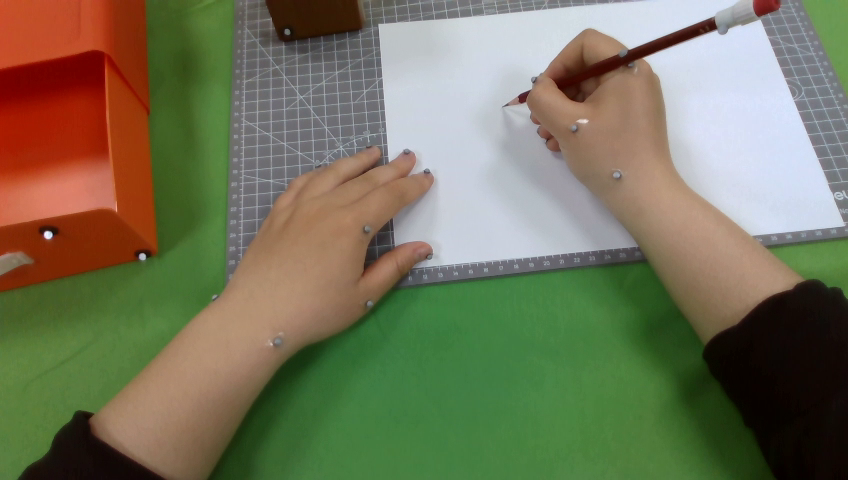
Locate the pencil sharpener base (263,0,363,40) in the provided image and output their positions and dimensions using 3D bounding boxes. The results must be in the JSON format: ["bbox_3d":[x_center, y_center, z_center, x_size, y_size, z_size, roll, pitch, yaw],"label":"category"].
[{"bbox_3d":[-0.092,-0.207,0.440,0.077,0.108,0.061,-12,66,-2],"label":"pencil sharpener base"}]

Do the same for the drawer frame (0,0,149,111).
[{"bbox_3d":[-0.322,-0.174,0.451,0.202,0.083,0.211,-14,66,-3],"label":"drawer frame"}]

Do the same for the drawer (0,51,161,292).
[{"bbox_3d":[-0.293,-0.070,0.406,0.194,0.074,0.210,-14,66,-3],"label":"drawer"}]

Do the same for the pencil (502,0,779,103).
[{"bbox_3d":[0.111,-0.108,0.363,0.012,0.193,0.012,3,84,-34],"label":"pencil"}]
